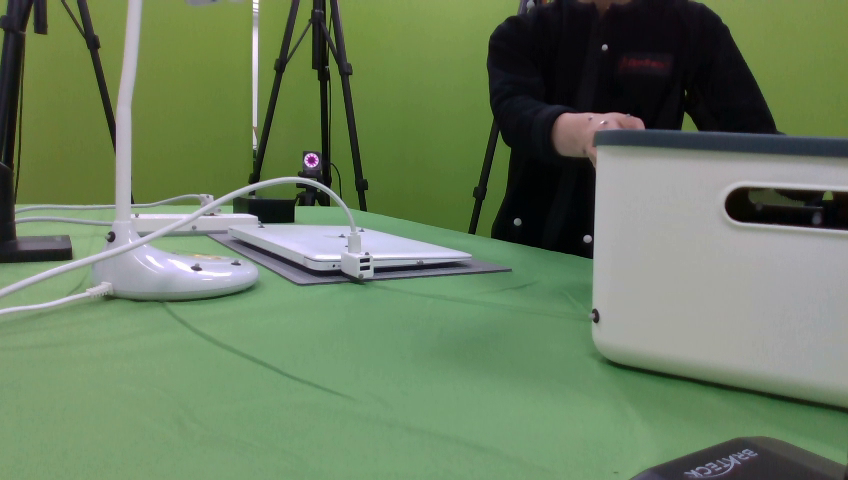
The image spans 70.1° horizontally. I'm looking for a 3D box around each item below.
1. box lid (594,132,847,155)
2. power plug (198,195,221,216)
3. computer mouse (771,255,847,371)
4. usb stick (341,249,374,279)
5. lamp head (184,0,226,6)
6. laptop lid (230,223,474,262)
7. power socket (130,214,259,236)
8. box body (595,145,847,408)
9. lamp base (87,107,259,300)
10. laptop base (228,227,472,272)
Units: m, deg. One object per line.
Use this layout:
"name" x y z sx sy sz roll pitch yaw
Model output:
"box lid" 0.311 -0.067 0.499 0.262 0.015 0.373 7 8 29
"power plug" -0.386 -0.055 1.088 0.035 0.052 0.072 -2 6 -24
"computer mouse" 0.345 0.057 0.519 0.063 0.041 0.117 12 47 4
"usb stick" -0.078 0.026 0.686 0.021 0.027 0.059 -8 8 -30
"lamp head" -0.229 -0.320 0.627 0.112 0.112 0.123 6 -35 26
"laptop lid" -0.121 0.000 0.888 0.243 0.013 0.355 1 7 -33
"power socket" -0.397 -0.028 1.048 0.228 0.032 0.072 -3 7 -35
"box body" 0.309 0.006 0.509 0.253 0.160 0.366 6 8 29
"lamp base" -0.254 -0.039 0.603 0.160 0.180 0.179 5 10 18
"laptop base" -0.124 0.011 0.889 0.237 0.023 0.352 2 6 -35
